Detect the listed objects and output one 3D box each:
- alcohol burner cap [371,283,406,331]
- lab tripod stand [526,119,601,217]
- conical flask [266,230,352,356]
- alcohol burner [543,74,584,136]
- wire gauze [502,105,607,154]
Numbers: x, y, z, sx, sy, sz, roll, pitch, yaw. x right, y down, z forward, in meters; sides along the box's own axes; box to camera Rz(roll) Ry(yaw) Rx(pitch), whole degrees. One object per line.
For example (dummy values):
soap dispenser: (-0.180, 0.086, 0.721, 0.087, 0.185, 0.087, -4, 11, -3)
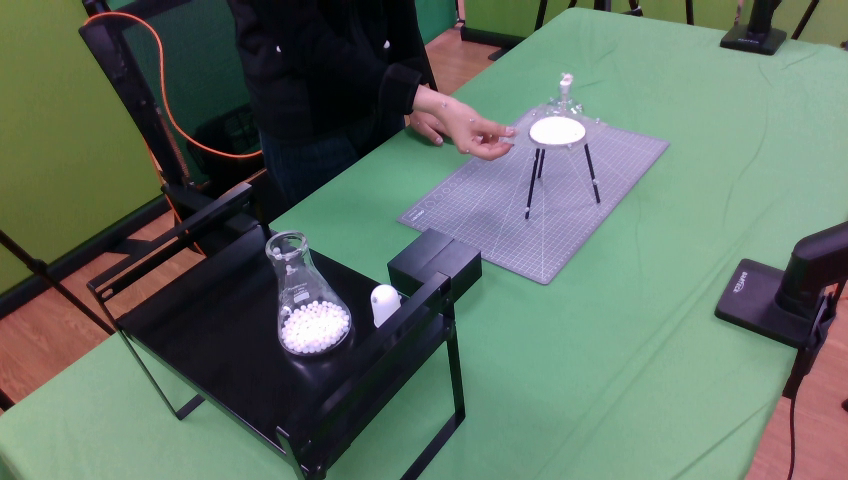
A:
alcohol burner cap: (-0.037, 0.065, 0.608, 0.034, 0.048, 0.033, -5, 39, 5)
lab tripod stand: (0.221, -0.121, 0.994, 0.148, 0.132, 0.147, -3, 39, 3)
conical flask: (-0.116, 0.047, 0.580, 0.075, 0.122, 0.075, -5, 40, 4)
alcohol burner: (0.270, -0.263, 1.169, 0.078, 0.119, 0.077, -6, 39, 5)
wire gauze: (0.207, -0.173, 0.952, 0.120, 0.011, 0.125, 23, 47, 31)
